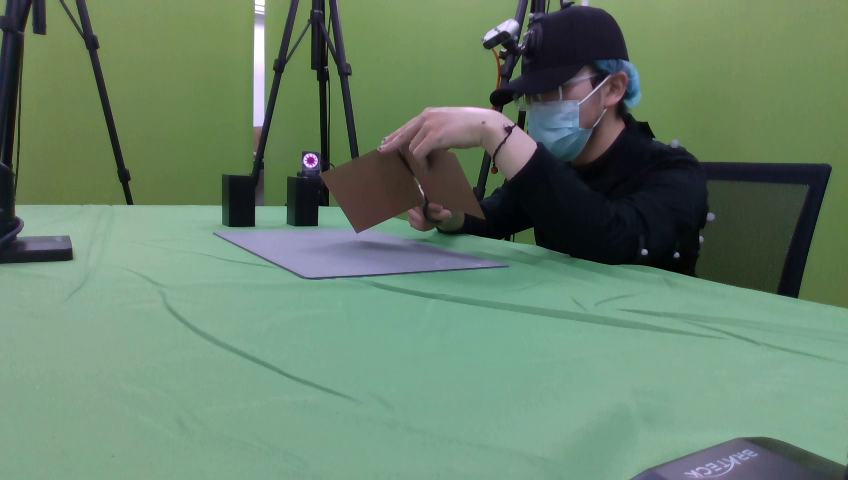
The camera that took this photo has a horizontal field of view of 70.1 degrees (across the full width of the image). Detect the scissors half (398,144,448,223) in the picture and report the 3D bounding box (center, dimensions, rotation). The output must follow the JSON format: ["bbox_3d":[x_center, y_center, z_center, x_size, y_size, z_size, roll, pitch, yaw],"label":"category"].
[{"bbox_3d":[-0.004,-0.093,1.016,0.012,0.176,0.040,13,53,44],"label":"scissors half"}]

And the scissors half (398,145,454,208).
[{"bbox_3d":[0.007,-0.109,1.024,0.013,0.040,0.176,7,-23,41],"label":"scissors half"}]

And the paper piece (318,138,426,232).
[{"bbox_3d":[-0.082,-0.088,0.999,0.135,0.136,0.004,-25,38,5],"label":"paper piece"}]

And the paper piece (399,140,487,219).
[{"bbox_3d":[0.029,-0.096,0.941,0.137,0.008,0.136,23,-24,47],"label":"paper piece"}]
